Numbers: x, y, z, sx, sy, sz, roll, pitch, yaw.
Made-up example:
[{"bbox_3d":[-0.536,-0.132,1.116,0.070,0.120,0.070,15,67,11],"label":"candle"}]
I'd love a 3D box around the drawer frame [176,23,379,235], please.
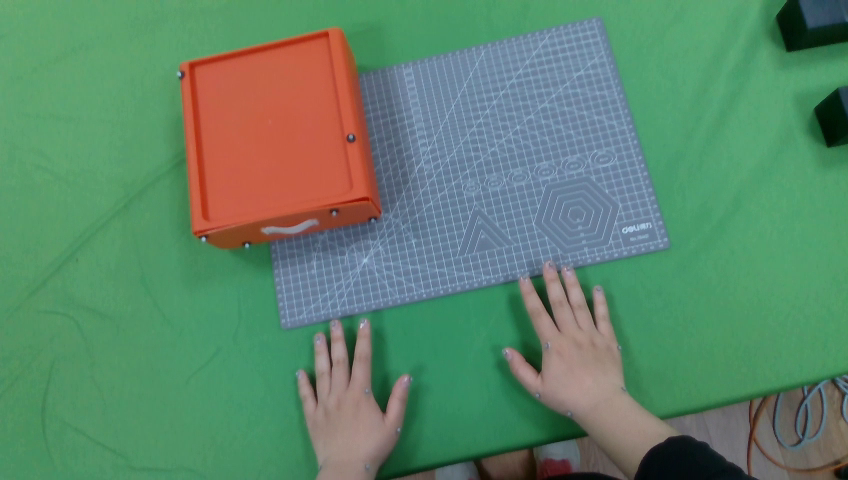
[{"bbox_3d":[-0.171,-0.117,0.703,0.201,0.083,0.212,-13,76,4],"label":"drawer frame"}]

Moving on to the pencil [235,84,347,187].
[{"bbox_3d":[-0.161,-0.126,0.731,0.193,0.012,0.012,42,85,11],"label":"pencil"}]

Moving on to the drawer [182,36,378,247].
[{"bbox_3d":[-0.168,-0.112,0.703,0.194,0.073,0.210,-12,76,4],"label":"drawer"}]
